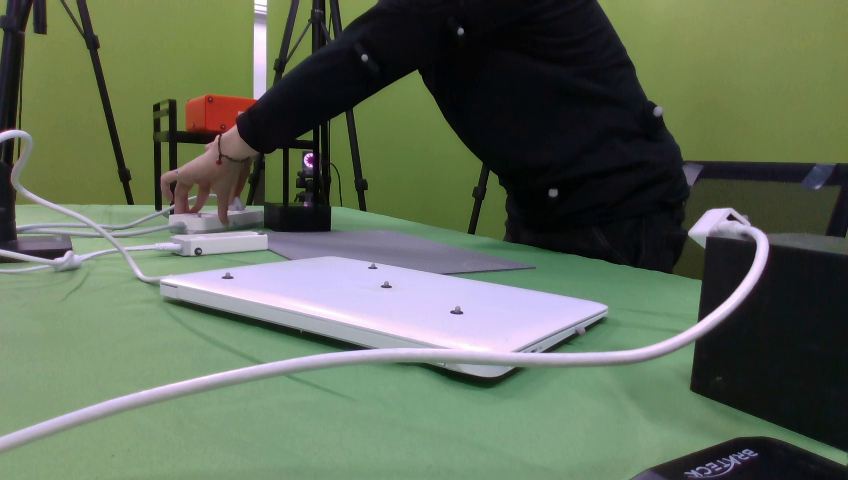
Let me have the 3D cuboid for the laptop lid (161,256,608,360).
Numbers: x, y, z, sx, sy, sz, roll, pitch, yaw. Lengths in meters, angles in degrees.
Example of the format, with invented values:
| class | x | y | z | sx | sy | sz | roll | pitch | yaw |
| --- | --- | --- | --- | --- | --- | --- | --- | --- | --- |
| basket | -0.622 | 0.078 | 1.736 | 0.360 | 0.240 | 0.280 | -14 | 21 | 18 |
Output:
| class | x | y | z | sx | sy | sz | roll | pitch | yaw |
| --- | --- | --- | --- | --- | --- | --- | --- | --- | --- |
| laptop lid | -0.037 | 0.046 | 0.556 | 0.355 | 0.013 | 0.243 | 8 | 8 | 35 |

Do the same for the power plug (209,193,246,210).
| class | x | y | z | sx | sy | sz | roll | pitch | yaw |
| --- | --- | --- | --- | --- | --- | --- | --- | --- | --- |
| power plug | -0.388 | -0.067 | 1.206 | 0.072 | 0.052 | 0.035 | 3 | 8 | 27 |

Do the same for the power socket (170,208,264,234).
| class | x | y | z | sx | sy | sz | roll | pitch | yaw |
| --- | --- | --- | --- | --- | --- | --- | --- | --- | --- |
| power socket | -0.380 | -0.038 | 1.129 | 0.072 | 0.032 | 0.227 | 4 | 8 | 16 |

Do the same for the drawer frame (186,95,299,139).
| class | x | y | z | sx | sy | sz | roll | pitch | yaw |
| --- | --- | --- | --- | --- | --- | --- | --- | --- | --- |
| drawer frame | -0.417 | -0.277 | 1.378 | 0.203 | 0.082 | 0.212 | -3 | 8 | -32 |

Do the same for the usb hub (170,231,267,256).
| class | x | y | z | sx | sy | sz | roll | pitch | yaw |
| --- | --- | --- | --- | --- | --- | --- | --- | --- | --- |
| usb hub | -0.290 | 0.004 | 0.862 | 0.049 | 0.025 | 0.126 | 11 | 11 | 42 |

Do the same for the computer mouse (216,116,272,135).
| class | x | y | z | sx | sy | sz | roll | pitch | yaw |
| --- | --- | --- | --- | --- | --- | --- | --- | --- | --- |
| computer mouse | -0.402 | -0.257 | 1.353 | 0.118 | 0.041 | 0.062 | -6 | 15 | -34 |

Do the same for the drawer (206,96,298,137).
| class | x | y | z | sx | sy | sz | roll | pitch | yaw |
| --- | --- | --- | --- | --- | --- | --- | --- | --- | --- |
| drawer | -0.413 | -0.275 | 1.376 | 0.195 | 0.073 | 0.210 | -3 | 8 | -31 |

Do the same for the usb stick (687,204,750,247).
| class | x | y | z | sx | sy | sz | roll | pitch | yaw |
| --- | --- | --- | --- | --- | --- | --- | --- | --- | --- |
| usb stick | 0.214 | -0.010 | 0.448 | 0.021 | 0.027 | 0.059 | 40 | 2 | 6 |

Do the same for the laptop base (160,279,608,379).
| class | x | y | z | sx | sy | sz | roll | pitch | yaw |
| --- | --- | --- | --- | --- | --- | --- | --- | --- | --- |
| laptop base | -0.038 | 0.059 | 0.556 | 0.352 | 0.023 | 0.237 | 8 | 7 | 33 |
